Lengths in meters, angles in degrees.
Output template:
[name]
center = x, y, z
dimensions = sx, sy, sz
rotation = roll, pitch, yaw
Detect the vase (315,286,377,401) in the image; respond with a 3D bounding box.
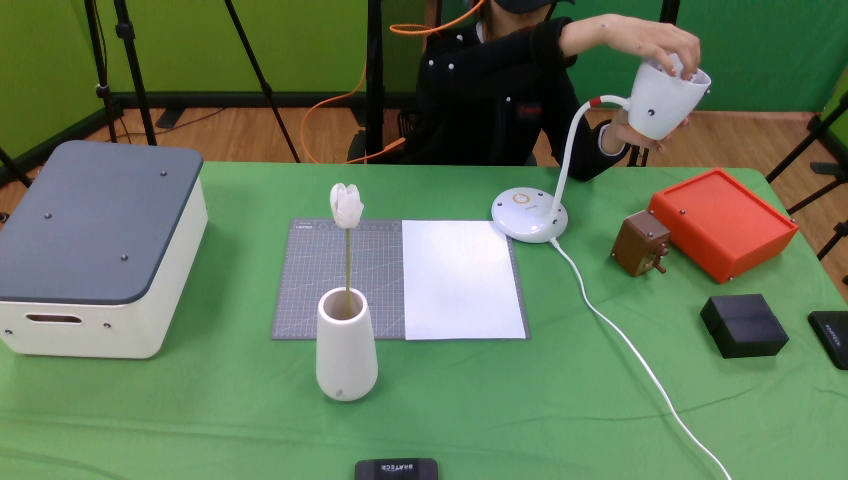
[vase]
center = -0.119, 0.159, 0.911
dimensions = 0.098, 0.201, 0.097
rotation = 2, 47, -2

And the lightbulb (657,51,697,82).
[lightbulb]
center = 0.391, -0.246, 0.966
dimensions = 0.059, 0.108, 0.059
rotation = 12, 31, -7

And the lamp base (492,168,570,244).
[lamp base]
center = 0.234, -0.101, 1.200
dimensions = 0.161, 0.181, 0.178
rotation = -24, 55, -25

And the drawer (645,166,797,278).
[drawer]
center = 0.600, -0.041, 1.236
dimensions = 0.195, 0.073, 0.210
rotation = -21, 51, -23

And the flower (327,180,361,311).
[flower]
center = -0.110, 0.086, 0.867
dimensions = 0.044, 0.363, 0.038
rotation = 22, 33, 35

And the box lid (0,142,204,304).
[box lid]
center = -0.534, -0.044, 0.995
dimensions = 0.263, 0.015, 0.369
rotation = 3, 45, -3

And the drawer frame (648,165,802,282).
[drawer frame]
center = 0.603, -0.040, 1.234
dimensions = 0.202, 0.083, 0.212
rotation = -21, 51, -23

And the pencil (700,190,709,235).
[pencil]
center = 0.583, -0.058, 1.257
dimensions = 0.012, 0.012, 0.193
rotation = 16, 35, 12

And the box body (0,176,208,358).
[box body]
center = -0.546, 0.017, 1.045
dimensions = 0.254, 0.161, 0.361
rotation = 2, 46, -2

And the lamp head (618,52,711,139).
[lamp head]
center = 0.377, -0.228, 0.979
dimensions = 0.112, 0.123, 0.111
rotation = 13, 39, -11

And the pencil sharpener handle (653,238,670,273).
[pencil sharpener handle]
center = 0.444, 0.030, 1.120
dimensions = 0.036, 0.068, 0.030
rotation = -25, 52, -18

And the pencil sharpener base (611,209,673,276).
[pencil sharpener base]
center = 0.416, 0.007, 1.158
dimensions = 0.061, 0.107, 0.076
rotation = -21, 51, -22
